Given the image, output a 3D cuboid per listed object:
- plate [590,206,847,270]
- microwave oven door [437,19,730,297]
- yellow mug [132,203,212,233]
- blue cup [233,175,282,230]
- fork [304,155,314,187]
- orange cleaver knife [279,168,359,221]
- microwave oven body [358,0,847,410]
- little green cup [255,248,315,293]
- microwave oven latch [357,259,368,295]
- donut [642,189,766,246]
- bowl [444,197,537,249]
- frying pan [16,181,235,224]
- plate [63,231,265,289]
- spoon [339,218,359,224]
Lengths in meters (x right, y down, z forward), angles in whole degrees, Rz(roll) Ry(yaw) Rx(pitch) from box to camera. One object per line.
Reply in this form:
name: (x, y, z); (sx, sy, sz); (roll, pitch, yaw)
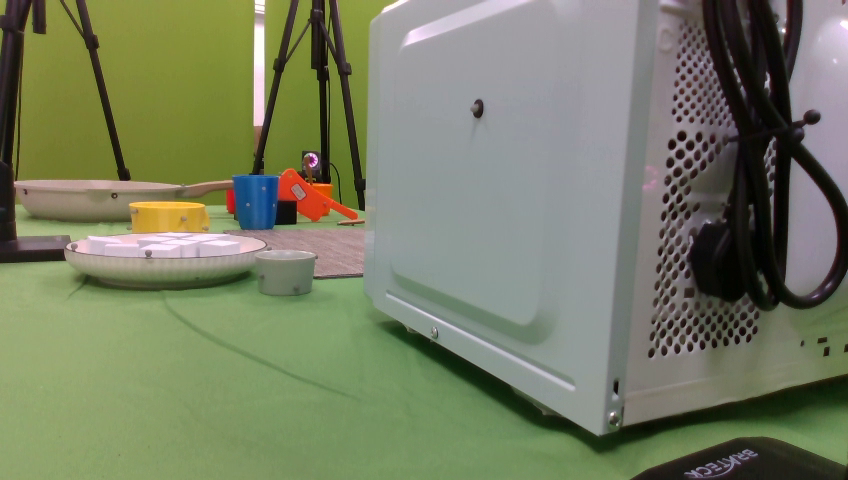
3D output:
plate: (0.246, -0.003, 0.510); (0.209, 0.038, 0.209); (3, 5, 0)
microwave oven door: (0.181, -0.076, 0.618); (0.358, 0.243, 0.039); (-2, 9, -28)
yellow mug: (-0.356, -0.020, 0.878); (0.099, 0.064, 0.131); (4, 7, 22)
blue cup: (-0.314, -0.071, 1.141); (0.093, 0.100, 0.092); (0, 7, 0)
fork: (-0.268, -0.134, 1.446); (0.028, 0.018, 0.207); (1, -36, -1)
orange cleaver knife: (-0.236, -0.084, 1.333); (0.212, 0.077, 0.012); (31, -9, -32)
microwave oven body: (0.210, -0.051, 0.471); (0.444, 0.260, 0.324); (-1, 7, -28)
little green cup: (-0.144, 0.031, 0.627); (0.061, 0.038, 0.061); (2, 7, 0)
microwave oven latch: (-0.019, 0.031, 0.529); (0.079, 0.029, 0.030); (-1, 7, -27)
donut: (0.238, -0.018, 0.519); (0.099, 0.048, 0.099); (5, 3, 0)
bowl: (0.109, -0.028, 0.985); (0.151, 0.077, 0.151); (-2, 6, 1)
frying pan: (-0.553, -0.097, 1.265); (0.490, 0.102, 0.305); (-10, 13, -24)
plate: (-0.288, 0.021, 0.687); (0.208, 0.039, 0.207); (2, 8, 0)
spoon: (-0.087, -0.041, 1.268); (0.193, 0.021, 0.041); (3, 18, 14)
